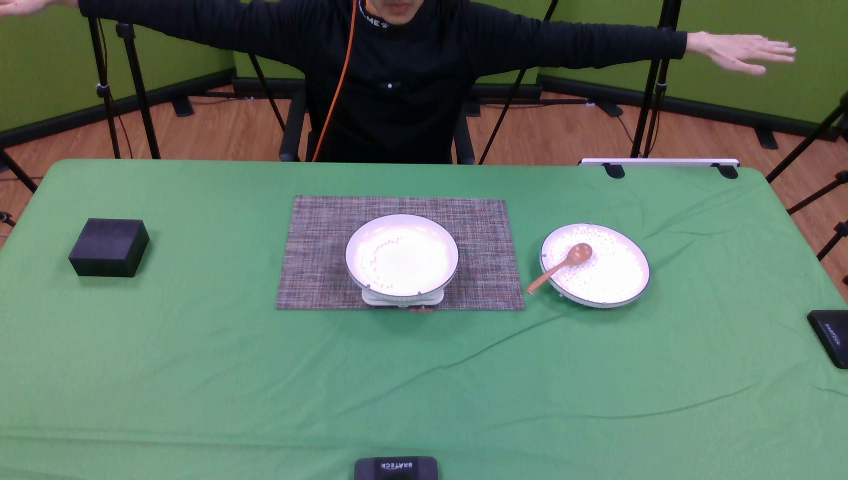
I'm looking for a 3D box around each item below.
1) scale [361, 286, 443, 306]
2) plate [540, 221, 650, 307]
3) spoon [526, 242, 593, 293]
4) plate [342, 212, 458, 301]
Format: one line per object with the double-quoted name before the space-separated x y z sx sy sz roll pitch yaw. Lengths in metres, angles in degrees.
"scale" -0.042 0.040 1.143 0.149 0.032 0.199 0 46 -4
"plate" 0.325 0.048 1.164 0.209 0.038 0.208 2 46 -2
"spoon" 0.252 0.050 1.134 0.194 0.022 0.041 -27 53 -36
"plate" -0.043 0.033 1.105 0.208 0.039 0.206 2 46 -2
